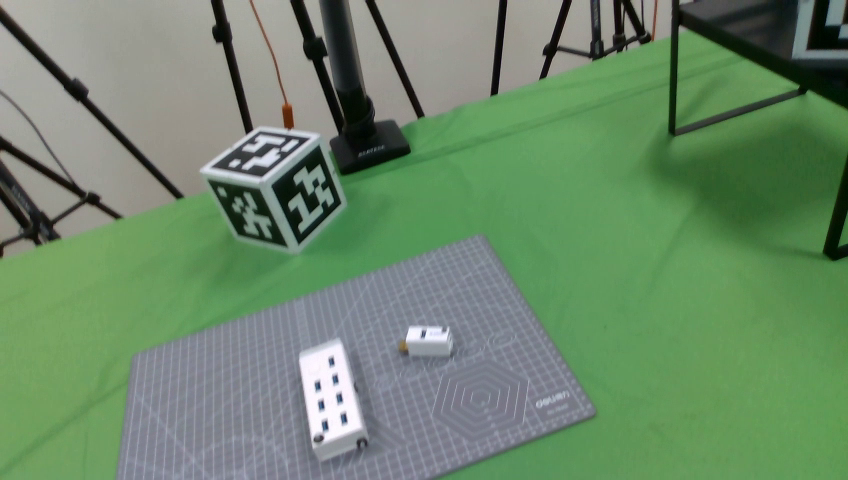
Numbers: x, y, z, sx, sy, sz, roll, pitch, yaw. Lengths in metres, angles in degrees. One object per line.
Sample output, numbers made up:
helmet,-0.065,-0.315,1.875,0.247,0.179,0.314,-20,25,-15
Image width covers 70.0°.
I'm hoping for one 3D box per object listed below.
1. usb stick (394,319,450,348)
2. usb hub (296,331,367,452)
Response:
usb stick,-0.004,0.098,0.631,0.059,0.027,0.021,-4,40,17
usb hub,-0.095,0.147,0.603,0.049,0.025,0.123,-20,38,-5
